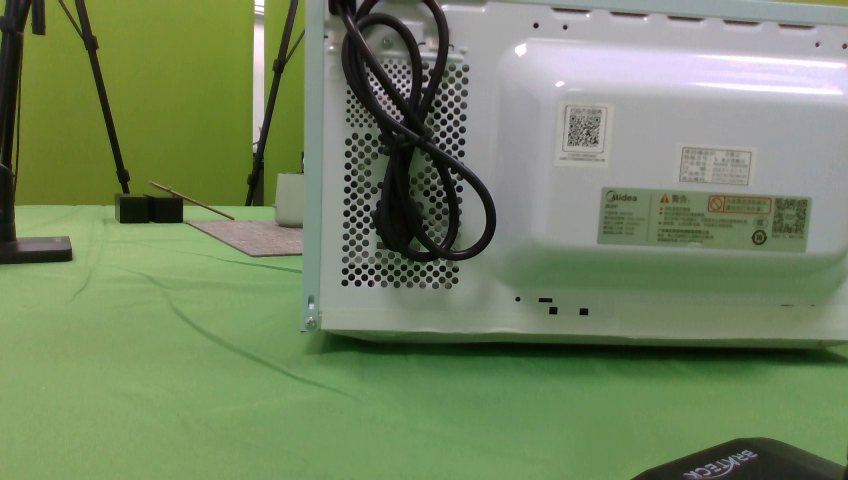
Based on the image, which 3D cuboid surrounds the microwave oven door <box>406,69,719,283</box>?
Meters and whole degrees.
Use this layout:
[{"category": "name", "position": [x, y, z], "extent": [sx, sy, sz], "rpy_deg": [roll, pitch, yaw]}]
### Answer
[{"category": "microwave oven door", "position": [0.158, -0.082, 0.741], "extent": [0.355, 0.243, 0.039], "rpy_deg": [4, 8, 10]}]

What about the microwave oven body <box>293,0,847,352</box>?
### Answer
[{"category": "microwave oven body", "position": [0.122, -0.055, 0.550], "extent": [0.442, 0.260, 0.325], "rpy_deg": [3, 7, -5]}]

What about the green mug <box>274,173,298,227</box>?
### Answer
[{"category": "green mug", "position": [-0.242, -0.081, 1.221], "extent": [0.092, 0.105, 0.126], "rpy_deg": [8, 9, 39]}]

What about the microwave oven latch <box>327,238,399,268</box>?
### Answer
[{"category": "microwave oven latch", "position": [-0.069, 0.015, 0.694], "extent": [0.079, 0.029, 0.030], "rpy_deg": [3, 7, -3]}]

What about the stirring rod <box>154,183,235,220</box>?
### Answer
[{"category": "stirring rod", "position": [-0.472, -0.079, 1.252], "extent": [0.177, 0.006, 0.014], "rpy_deg": [27, 4, -35]}]
